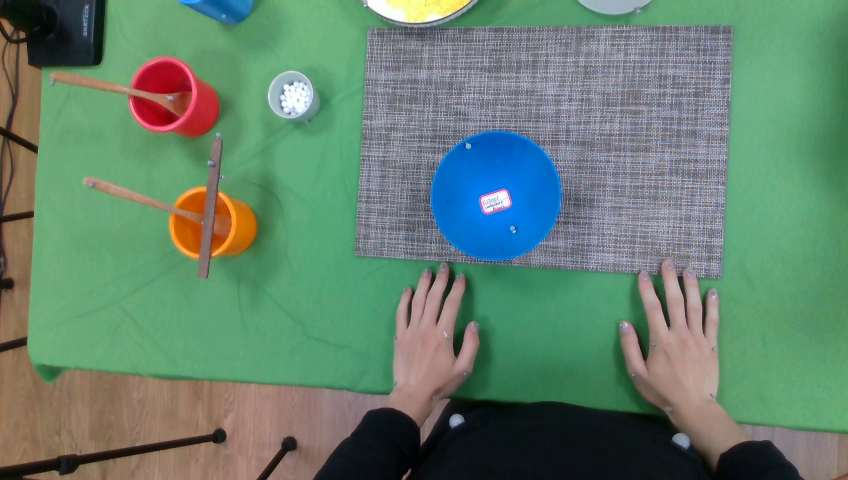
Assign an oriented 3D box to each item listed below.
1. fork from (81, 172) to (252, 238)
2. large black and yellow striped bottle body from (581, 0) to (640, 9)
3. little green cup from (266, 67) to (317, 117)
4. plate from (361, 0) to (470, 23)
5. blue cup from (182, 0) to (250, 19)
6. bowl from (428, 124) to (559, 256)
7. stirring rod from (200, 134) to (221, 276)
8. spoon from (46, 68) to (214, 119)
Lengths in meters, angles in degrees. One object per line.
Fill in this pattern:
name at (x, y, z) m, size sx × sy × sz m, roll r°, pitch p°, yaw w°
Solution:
fork at (-0.317, -0.043, 0.762) m, size 0.209 × 0.018 × 0.028 m, roll 21°, pitch 96°, yaw -33°
large black and yellow striped bottle body at (0.217, -0.349, 0.657) m, size 0.130 × 0.184 × 0.130 m, roll 0°, pitch 88°, yaw 10°
little green cup at (-0.171, -0.191, 0.796) m, size 0.061 × 0.039 × 0.061 m, roll 0°, pitch 89°, yaw 11°
plate at (-0.005, -0.376, 0.771) m, size 0.209 × 0.038 × 0.209 m, roll 0°, pitch 89°, yaw 10°
blue cup at (-0.276, -0.334, 0.785) m, size 0.092 × 0.100 × 0.092 m, roll 0°, pitch 89°, yaw 12°
bowl at (0.085, -0.055, 0.724) m, size 0.151 × 0.077 × 0.151 m, roll 0°, pitch 89°, yaw 11°
stirring rod at (-0.265, -0.044, 0.750) m, size 0.014 × 0.006 × 0.176 m, roll 4°, pitch 90°, yaw 12°
spoon at (-0.372, -0.194, 0.779) m, size 0.195 × 0.021 × 0.041 m, roll 9°, pitch 93°, yaw -33°
